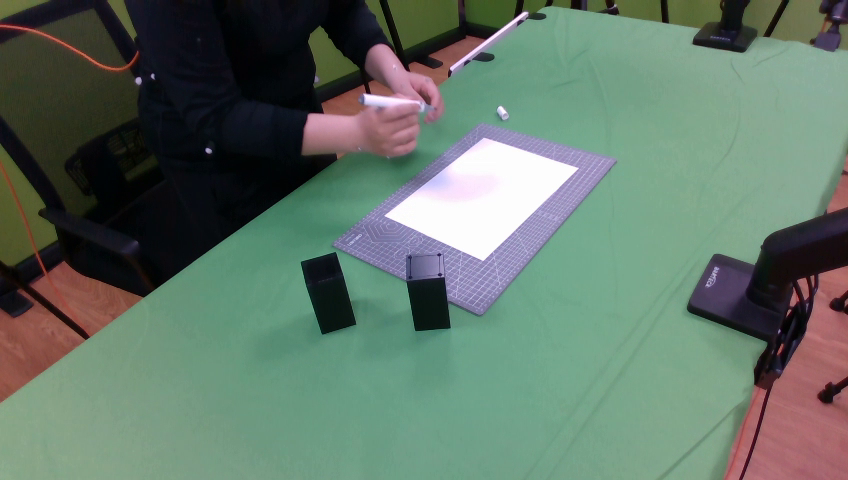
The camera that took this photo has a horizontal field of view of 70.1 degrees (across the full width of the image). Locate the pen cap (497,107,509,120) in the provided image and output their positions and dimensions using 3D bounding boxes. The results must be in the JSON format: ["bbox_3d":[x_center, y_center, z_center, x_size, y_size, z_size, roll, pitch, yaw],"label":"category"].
[{"bbox_3d":[0.164,-0.264,1.261,0.017,0.017,0.038,-14,41,-7],"label":"pen cap"}]

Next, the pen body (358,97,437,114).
[{"bbox_3d":[-0.038,-0.210,0.950,0.145,0.017,0.016,-3,32,-36],"label":"pen body"}]
